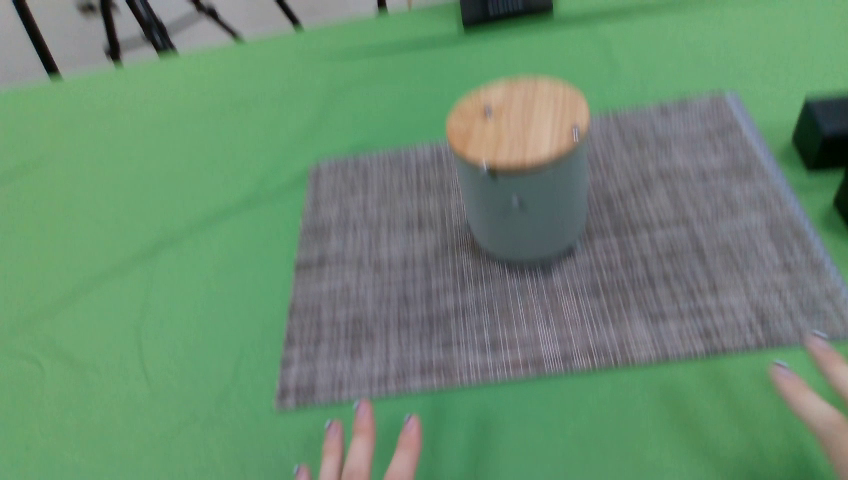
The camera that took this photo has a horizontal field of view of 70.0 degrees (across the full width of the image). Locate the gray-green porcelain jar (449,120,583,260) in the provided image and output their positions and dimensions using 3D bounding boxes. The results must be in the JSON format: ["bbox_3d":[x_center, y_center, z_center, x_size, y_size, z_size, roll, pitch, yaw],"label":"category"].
[{"bbox_3d":[0.081,-0.053,0.512,0.106,0.128,0.105,-7,50,9],"label":"gray-green porcelain jar"}]

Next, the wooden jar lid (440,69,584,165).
[{"bbox_3d":[0.067,-0.092,0.462,0.108,0.021,0.107,-7,49,8],"label":"wooden jar lid"}]
